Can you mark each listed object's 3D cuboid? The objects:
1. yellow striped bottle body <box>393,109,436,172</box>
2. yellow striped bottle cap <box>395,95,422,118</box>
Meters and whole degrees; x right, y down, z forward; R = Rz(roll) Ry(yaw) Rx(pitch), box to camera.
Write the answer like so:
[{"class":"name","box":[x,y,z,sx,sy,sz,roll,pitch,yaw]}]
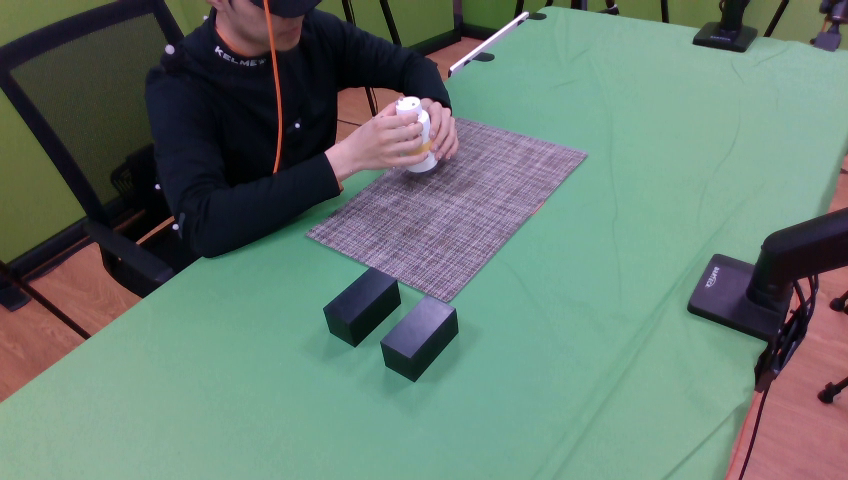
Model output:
[{"class":"yellow striped bottle body","box":[-0.018,-0.186,1.065,0.063,0.121,0.062,-7,41,7]},{"class":"yellow striped bottle cap","box":[-0.027,-0.227,1.027,0.044,0.019,0.044,-9,44,9]}]
